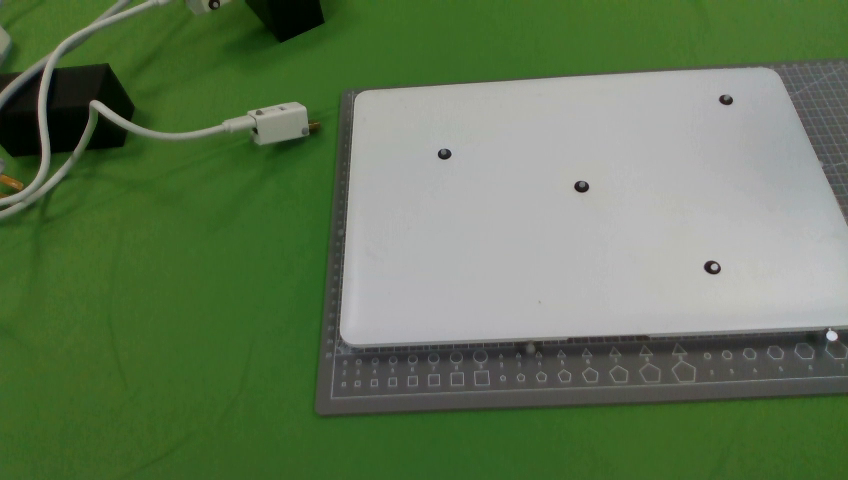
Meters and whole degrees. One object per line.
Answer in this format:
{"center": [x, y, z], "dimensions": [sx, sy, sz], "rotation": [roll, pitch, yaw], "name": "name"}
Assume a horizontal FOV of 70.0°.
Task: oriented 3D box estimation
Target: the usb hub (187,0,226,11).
{"center": [-0.167, -0.256, 0.560], "dimensions": [0.125, 0.025, 0.049], "rotation": [-34, 62, -16], "name": "usb hub"}

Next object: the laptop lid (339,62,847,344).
{"center": [0.116, -0.039, 0.447], "dimensions": [0.356, 0.013, 0.239], "rotation": [-1, 59, 3], "name": "laptop lid"}

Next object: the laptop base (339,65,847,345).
{"center": [0.117, -0.035, 0.459], "dimensions": [0.354, 0.023, 0.233], "rotation": [-3, 61, 2], "name": "laptop base"}

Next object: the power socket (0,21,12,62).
{"center": [-0.456, -0.132, 0.555], "dimensions": [0.072, 0.033, 0.224], "rotation": [1, 57, 3], "name": "power socket"}

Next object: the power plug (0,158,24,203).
{"center": [-0.341, -0.066, 0.485], "dimensions": [0.072, 0.053, 0.035], "rotation": [-56, 35, 4], "name": "power plug"}

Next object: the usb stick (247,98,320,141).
{"center": [-0.116, -0.103, 0.510], "dimensions": [0.059, 0.027, 0.021], "rotation": [-18, 33, -33], "name": "usb stick"}
